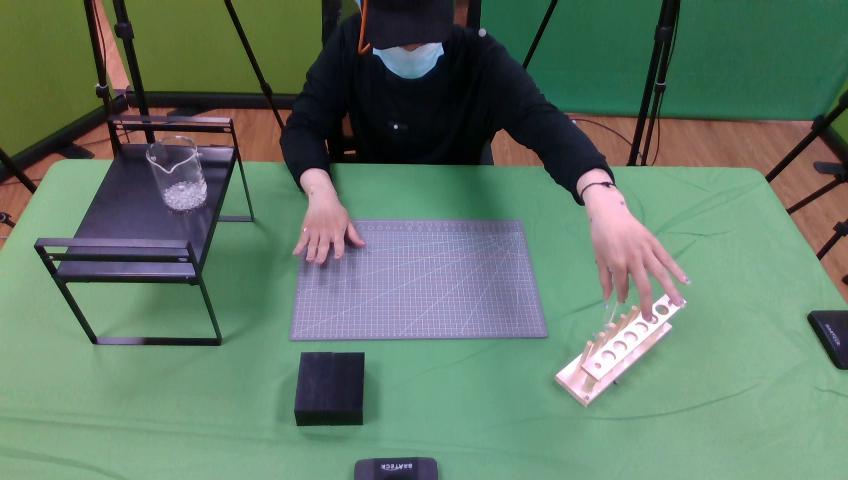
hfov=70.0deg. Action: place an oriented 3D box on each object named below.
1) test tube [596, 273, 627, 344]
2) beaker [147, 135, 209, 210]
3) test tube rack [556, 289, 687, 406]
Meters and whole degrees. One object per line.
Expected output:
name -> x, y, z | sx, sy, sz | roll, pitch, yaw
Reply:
test tube -> 0.290, 0.108, 0.939 | 0.017, 0.151, 0.017 | 2, 40, -1
beaker -> -0.387, -0.102, 0.961 | 0.074, 0.101, 0.083 | -5, 48, -7
test tube rack -> 0.332, 0.166, 1.014 | 0.242, 0.085, 0.066 | -31, 55, -28
